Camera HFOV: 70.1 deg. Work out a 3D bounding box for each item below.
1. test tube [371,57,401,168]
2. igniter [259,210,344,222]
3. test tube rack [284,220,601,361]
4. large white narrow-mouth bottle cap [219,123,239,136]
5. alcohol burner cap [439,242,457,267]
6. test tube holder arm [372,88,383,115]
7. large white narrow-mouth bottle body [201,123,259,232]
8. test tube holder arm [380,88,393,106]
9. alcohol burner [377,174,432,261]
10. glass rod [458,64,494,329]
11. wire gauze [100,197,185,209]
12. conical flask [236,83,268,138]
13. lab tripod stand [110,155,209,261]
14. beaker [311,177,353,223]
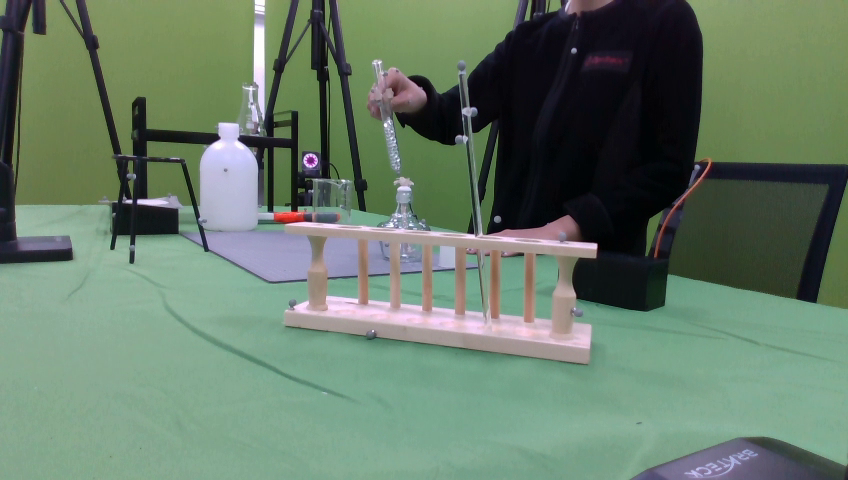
[{"bbox_3d":[-0.051,-0.173,0.820,0.017,0.150,0.017,-10,4,1],"label":"test tube"},{"bbox_3d":[-0.303,-0.049,1.258,0.278,0.025,0.057,-2,-2,-28],"label":"igniter"},{"bbox_3d":[0.013,0.032,0.482,0.242,0.085,0.067,4,7,16],"label":"test tube rack"},{"bbox_3d":[-0.356,-0.201,1.104,0.038,0.024,0.037,2,8,0],"label":"large white narrow-mouth bottle cap"},{"bbox_3d":[0.037,0.011,0.807,0.034,0.048,0.034,4,8,0],"label":"alcohol burner cap"},{"bbox_3d":[-0.068,-0.202,0.884,0.013,0.015,0.178,3,4,-8],"label":"test tube holder arm"},{"bbox_3d":[-0.358,-0.116,1.116,0.102,0.194,0.102,2,8,0],"label":"large white narrow-mouth bottle body"},{"bbox_3d":[-0.055,-0.198,0.841,0.010,0.015,0.087,3,4,-13],"label":"test tube holder arm"},{"bbox_3d":[-0.027,-0.031,0.838,0.078,0.119,0.078,0,6,0],"label":"alcohol burner"},{"bbox_3d":[0.039,-0.029,0.450,0.008,0.199,0.008,-7,9,1],"label":"glass rod"},{"bbox_3d":[-0.469,-0.062,1.008,0.126,0.011,0.121,-2,8,-25],"label":"wire gauze"},{"bbox_3d":[-0.400,-0.298,1.396,0.075,0.122,0.075,2,8,0],"label":"conical flask"},{"bbox_3d":[-0.361,-0.046,0.806,0.148,0.131,0.148,2,5,0],"label":"lab tripod stand"},{"bbox_3d":[-0.167,-0.064,1.106,0.074,0.100,0.083,-2,9,-27],"label":"beaker"}]
